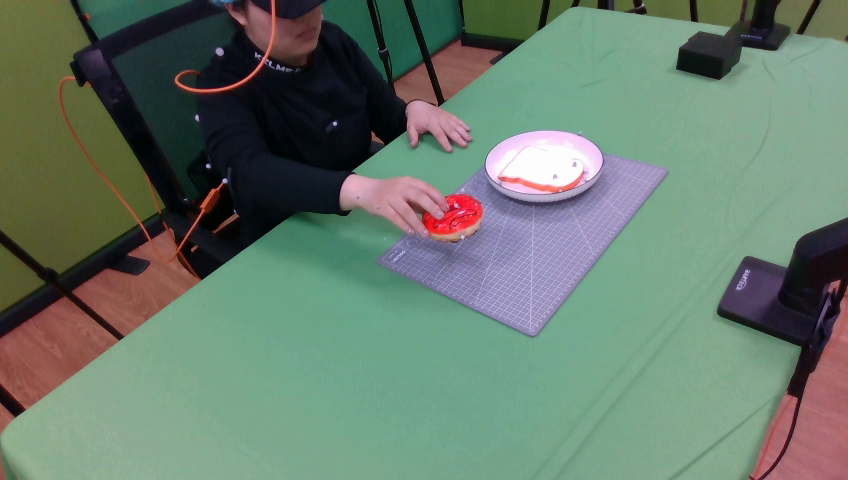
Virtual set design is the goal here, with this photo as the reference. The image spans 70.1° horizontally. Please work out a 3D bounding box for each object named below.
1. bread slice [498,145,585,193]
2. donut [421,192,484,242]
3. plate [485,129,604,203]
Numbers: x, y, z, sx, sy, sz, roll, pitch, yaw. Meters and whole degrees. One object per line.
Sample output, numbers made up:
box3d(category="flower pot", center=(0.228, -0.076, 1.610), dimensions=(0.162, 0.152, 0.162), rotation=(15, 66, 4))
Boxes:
box3d(category="bread slice", center=(0.216, -0.125, 1.076), dimensions=(0.133, 0.018, 0.107), rotation=(16, 47, 28))
box3d(category="donut", center=(0.043, -0.036, 0.920), dimensions=(0.099, 0.048, 0.098), rotation=(-10, 35, 8))
box3d(category="plate", center=(0.213, -0.129, 1.079), dimensions=(0.209, 0.038, 0.208), rotation=(-5, 40, 5))
